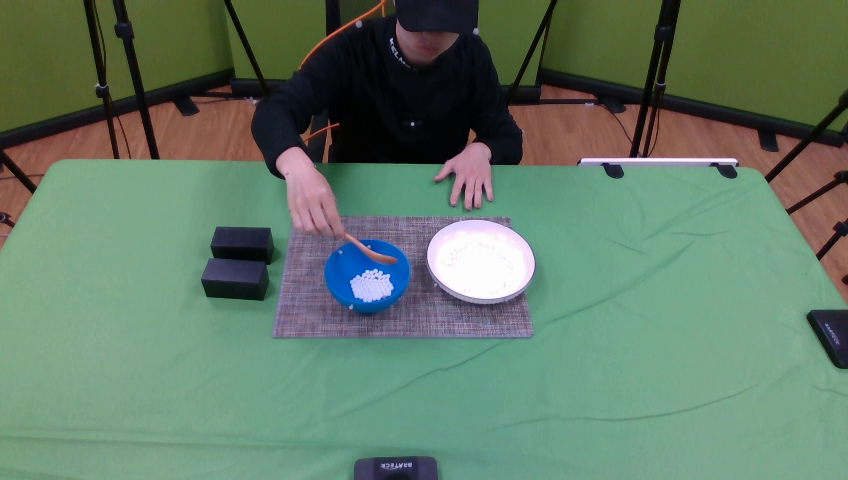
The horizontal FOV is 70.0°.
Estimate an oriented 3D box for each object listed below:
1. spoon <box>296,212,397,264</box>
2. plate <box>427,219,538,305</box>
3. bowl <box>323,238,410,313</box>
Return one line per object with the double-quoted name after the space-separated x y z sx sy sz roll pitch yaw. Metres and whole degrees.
-0.132 -0.004 1.018 0.193 0.042 0.021 29 81 12 "spoon"
0.109 0.044 1.149 0.208 0.039 0.206 2 46 -2 "plate"
-0.101 0.077 1.073 0.151 0.077 0.150 2 46 -2 "bowl"
